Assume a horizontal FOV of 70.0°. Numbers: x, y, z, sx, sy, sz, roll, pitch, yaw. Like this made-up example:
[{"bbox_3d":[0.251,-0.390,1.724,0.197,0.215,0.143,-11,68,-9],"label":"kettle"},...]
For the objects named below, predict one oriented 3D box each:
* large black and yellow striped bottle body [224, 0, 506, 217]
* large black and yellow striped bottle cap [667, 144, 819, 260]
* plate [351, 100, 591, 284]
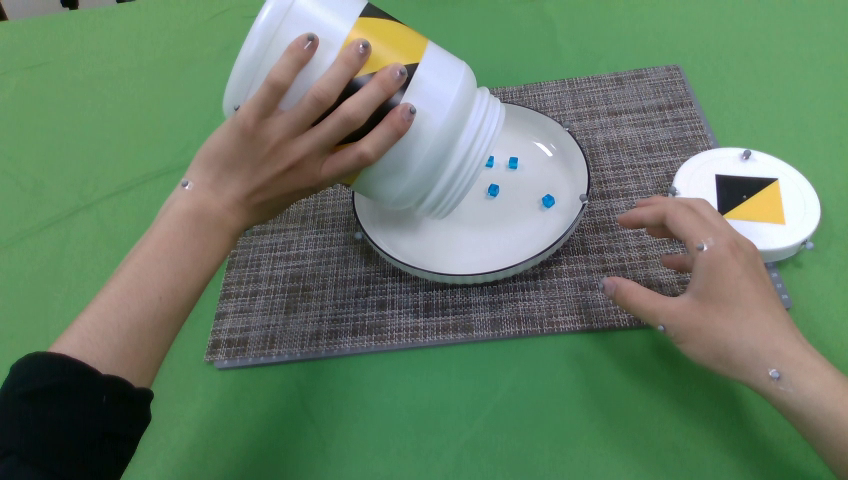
[{"bbox_3d":[-0.041,-0.107,0.468,0.185,0.131,0.130,28,55,-13],"label":"large black and yellow striped bottle body"},{"bbox_3d":[0.264,-0.034,0.504,0.115,0.019,0.114,-2,54,3],"label":"large black and yellow striped bottle cap"},{"bbox_3d":[0.041,-0.044,0.537,0.207,0.039,0.205,-5,52,6],"label":"plate"}]
